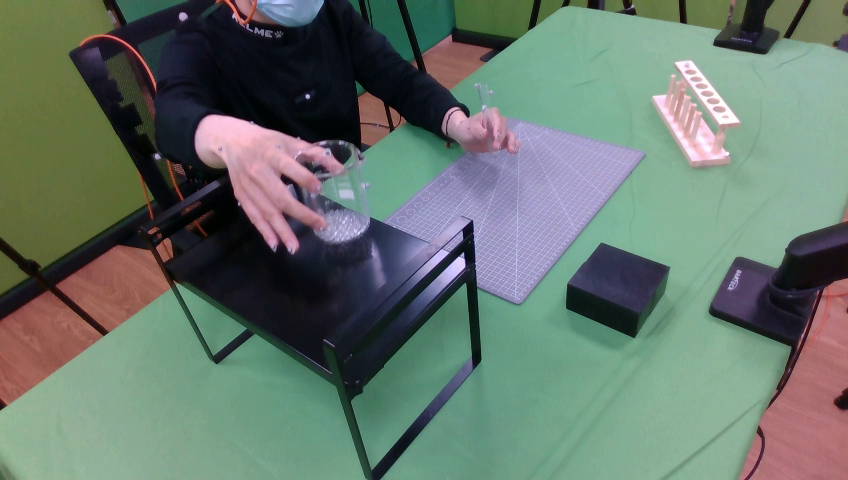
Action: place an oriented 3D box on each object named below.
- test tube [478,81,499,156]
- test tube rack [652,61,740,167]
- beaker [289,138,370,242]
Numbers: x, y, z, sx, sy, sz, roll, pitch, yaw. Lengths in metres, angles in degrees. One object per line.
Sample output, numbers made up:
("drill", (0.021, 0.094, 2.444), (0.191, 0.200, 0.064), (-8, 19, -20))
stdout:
("test tube", (0.107, -0.197, 1.001), (0.017, 0.151, 0.017), (-8, 49, 10))
("test tube rack", (0.499, -0.242, 1.130), (0.067, 0.085, 0.241), (-5, 41, 4))
("beaker", (-0.100, -0.055, 0.687), (0.084, 0.101, 0.073), (-5, 39, 3))
